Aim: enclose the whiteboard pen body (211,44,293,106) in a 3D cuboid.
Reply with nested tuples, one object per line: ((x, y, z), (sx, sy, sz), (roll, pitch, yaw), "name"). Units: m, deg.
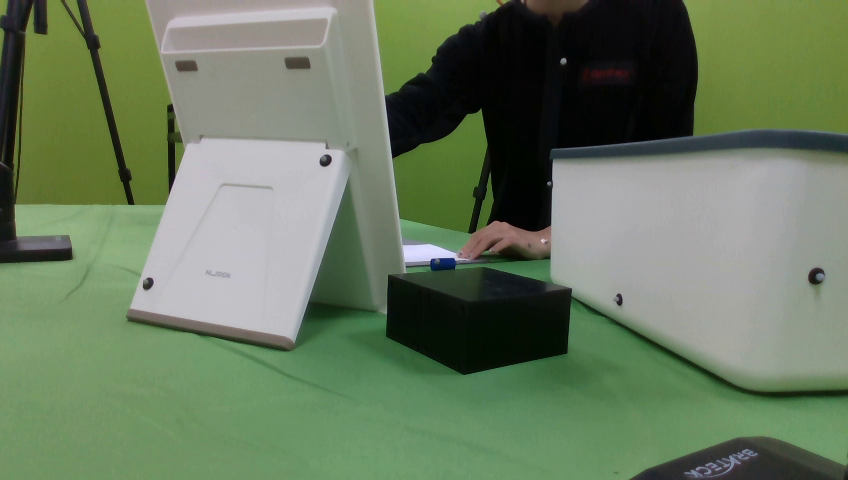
((-0.165, -0.161, 0.587), (0.017, 0.017, 0.141), (5, 38, 19), "whiteboard pen body")

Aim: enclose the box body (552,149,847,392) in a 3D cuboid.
((0.290, 0.002, 0.549), (0.255, 0.160, 0.363), (2, 7, -10), "box body")

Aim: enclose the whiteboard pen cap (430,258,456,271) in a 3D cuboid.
((0.024, 0.031, 0.791), (0.033, 0.018, 0.018), (1, 8, -12), "whiteboard pen cap")

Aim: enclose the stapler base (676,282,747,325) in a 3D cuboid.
((0.283, 0.057, 0.585), (0.041, 0.024, 0.131), (30, 18, 34), "stapler base")

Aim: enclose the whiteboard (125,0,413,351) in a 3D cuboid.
((-0.151, -0.050, 0.471), (0.216, 0.305, 0.144), (6, 27, 24), "whiteboard")

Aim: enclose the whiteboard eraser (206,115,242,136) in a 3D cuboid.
((-0.438, -0.249, 1.320), (0.056, 0.042, 0.112), (-3, 9, -30), "whiteboard eraser")

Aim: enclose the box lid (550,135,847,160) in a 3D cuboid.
((0.294, -0.071, 0.538), (0.264, 0.015, 0.370), (2, 6, -10), "box lid")

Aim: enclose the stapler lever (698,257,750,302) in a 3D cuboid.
((0.291, 0.035, 0.580), (0.026, 0.040, 0.119), (30, 20, 34), "stapler lever")

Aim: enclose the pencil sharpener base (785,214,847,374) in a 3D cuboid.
((0.322, 0.038, 0.441), (0.077, 0.107, 0.061), (1, 8, -18), "pencil sharpener base")

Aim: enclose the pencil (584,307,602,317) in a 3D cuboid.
((0.250, 0.055, 0.656), (0.195, 0.012, 0.012), (-13, 14, -26), "pencil")
